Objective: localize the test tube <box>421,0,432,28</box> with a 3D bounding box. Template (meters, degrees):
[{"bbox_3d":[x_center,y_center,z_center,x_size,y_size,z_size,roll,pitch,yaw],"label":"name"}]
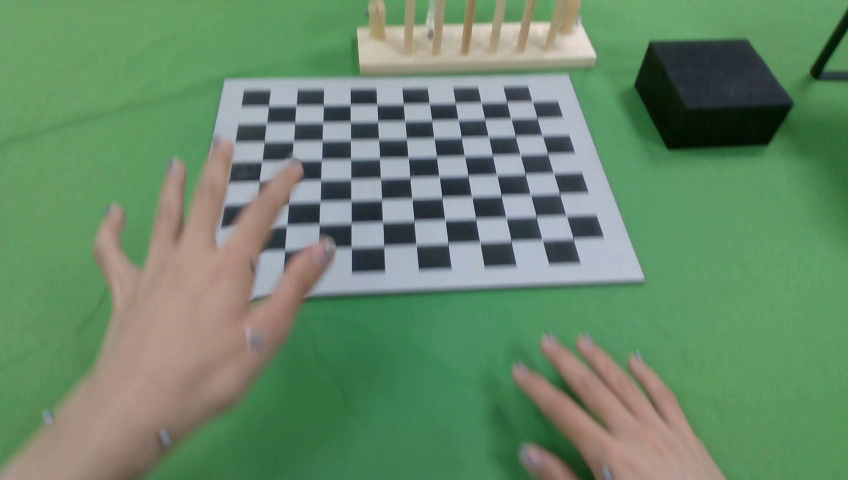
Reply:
[{"bbox_3d":[0.014,-0.271,0.575,0.017,0.151,0.017,5,51,-5],"label":"test tube"}]

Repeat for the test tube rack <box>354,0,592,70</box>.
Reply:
[{"bbox_3d":[0.051,-0.229,0.607,0.243,0.086,0.066,-3,51,-6],"label":"test tube rack"}]
